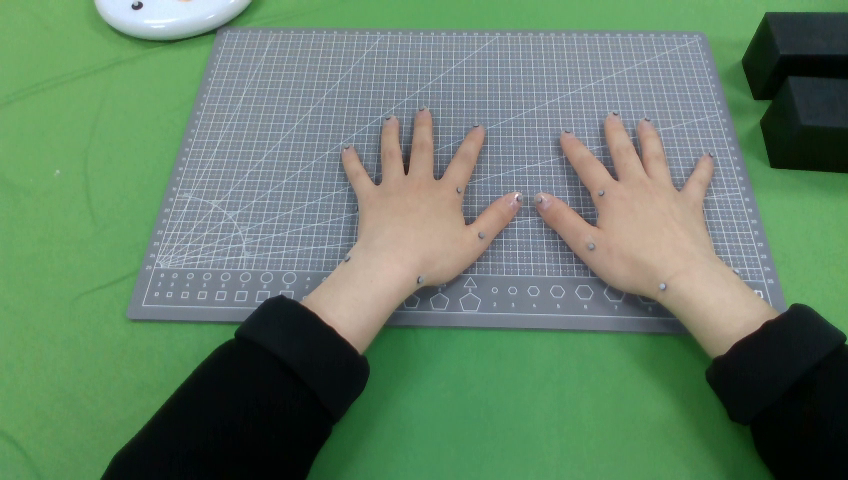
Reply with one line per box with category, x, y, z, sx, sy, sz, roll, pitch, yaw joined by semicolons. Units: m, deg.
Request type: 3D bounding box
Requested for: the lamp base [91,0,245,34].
lamp base;-0.252;-0.305;0.530;0.160;0.182;0.177;-36;62;-19
